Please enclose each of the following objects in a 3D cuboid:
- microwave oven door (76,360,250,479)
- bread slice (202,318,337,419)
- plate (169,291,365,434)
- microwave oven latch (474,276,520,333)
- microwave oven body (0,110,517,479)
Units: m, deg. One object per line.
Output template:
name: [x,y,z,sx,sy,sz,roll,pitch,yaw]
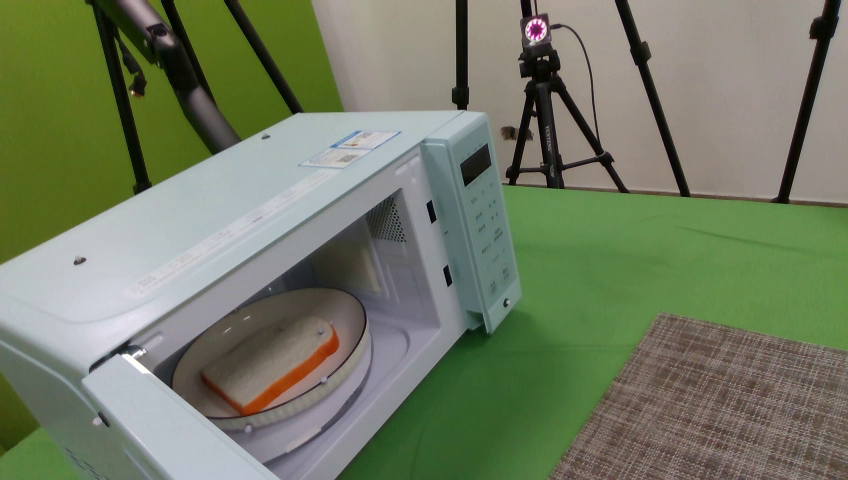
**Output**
microwave oven door: [-0.045,0.208,0.298,0.353,0.246,0.039,14,39,43]
bread slice: [-0.160,0.130,0.641,0.104,0.019,0.131,17,44,44]
plate: [-0.158,0.127,0.637,0.209,0.038,0.207,-12,27,7]
microwave oven latch: [0.085,0.074,0.713,0.030,0.030,0.079,9,36,37]
microwave oven body: [-0.155,0.063,0.641,0.323,0.262,0.441,9,36,37]
